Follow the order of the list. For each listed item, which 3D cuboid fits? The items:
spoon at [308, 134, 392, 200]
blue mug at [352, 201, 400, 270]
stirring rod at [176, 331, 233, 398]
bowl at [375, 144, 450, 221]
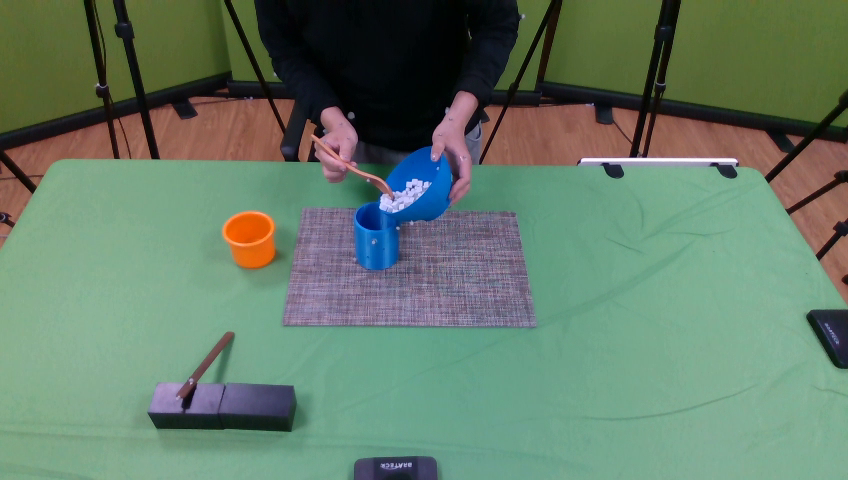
[{"bbox_3d":[-0.133,-0.133,1.090,0.193,0.042,0.021,33,76,5],"label":"spoon"},{"bbox_3d":[-0.082,-0.017,1.144,0.082,0.106,0.116,29,51,22],"label":"blue mug"},{"bbox_3d":[-0.342,0.192,0.955,0.014,0.006,0.175,3,24,7],"label":"stirring rod"},{"bbox_3d":[-0.006,-0.087,1.078,0.151,0.077,0.150,-28,40,27],"label":"bowl"}]
